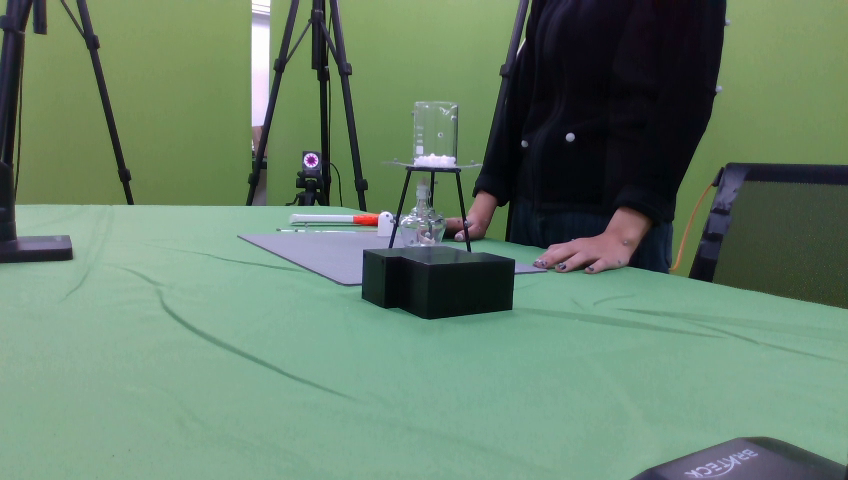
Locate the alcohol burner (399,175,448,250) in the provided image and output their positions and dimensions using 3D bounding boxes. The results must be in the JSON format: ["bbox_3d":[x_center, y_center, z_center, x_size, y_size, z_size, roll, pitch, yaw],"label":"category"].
[{"bbox_3d":[-0.001,-0.044,0.962,0.078,0.119,0.078,0,8,0],"label":"alcohol burner"}]

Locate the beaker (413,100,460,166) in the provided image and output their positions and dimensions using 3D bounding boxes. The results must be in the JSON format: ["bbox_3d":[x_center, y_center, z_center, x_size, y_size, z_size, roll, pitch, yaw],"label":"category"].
[{"bbox_3d":[0.020,-0.167,0.953,0.073,0.100,0.084,5,9,26],"label":"beaker"}]

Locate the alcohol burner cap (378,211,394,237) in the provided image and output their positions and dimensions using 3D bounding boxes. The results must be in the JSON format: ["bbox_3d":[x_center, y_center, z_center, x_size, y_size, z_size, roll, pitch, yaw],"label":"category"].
[{"bbox_3d":[-0.069,-0.030,1.112,0.034,0.048,0.034,2,9,0],"label":"alcohol burner cap"}]

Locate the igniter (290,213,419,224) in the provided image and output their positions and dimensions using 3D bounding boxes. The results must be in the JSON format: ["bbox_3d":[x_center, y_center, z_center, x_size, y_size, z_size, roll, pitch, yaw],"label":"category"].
[{"bbox_3d":[-0.143,-0.046,1.288,0.278,0.025,0.057,-1,-3,-24],"label":"igniter"}]

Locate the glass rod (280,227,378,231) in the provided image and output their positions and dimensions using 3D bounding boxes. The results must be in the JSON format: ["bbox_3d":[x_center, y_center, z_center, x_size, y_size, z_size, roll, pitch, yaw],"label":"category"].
[{"bbox_3d":[-0.175,-0.021,1.161,0.200,0.008,0.008,0,7,-15],"label":"glass rod"}]

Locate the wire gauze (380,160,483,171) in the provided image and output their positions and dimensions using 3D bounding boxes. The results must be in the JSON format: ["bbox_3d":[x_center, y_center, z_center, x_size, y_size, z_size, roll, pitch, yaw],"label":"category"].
[{"bbox_3d":[0.011,-0.118,0.951,0.122,0.011,0.124,-5,12,-32],"label":"wire gauze"}]

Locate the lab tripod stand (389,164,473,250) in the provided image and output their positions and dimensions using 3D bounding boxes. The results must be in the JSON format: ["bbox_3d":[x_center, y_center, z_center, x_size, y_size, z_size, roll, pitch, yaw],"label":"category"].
[{"bbox_3d":[0.011,-0.054,0.961,0.148,0.131,0.148,2,9,0],"label":"lab tripod stand"}]
